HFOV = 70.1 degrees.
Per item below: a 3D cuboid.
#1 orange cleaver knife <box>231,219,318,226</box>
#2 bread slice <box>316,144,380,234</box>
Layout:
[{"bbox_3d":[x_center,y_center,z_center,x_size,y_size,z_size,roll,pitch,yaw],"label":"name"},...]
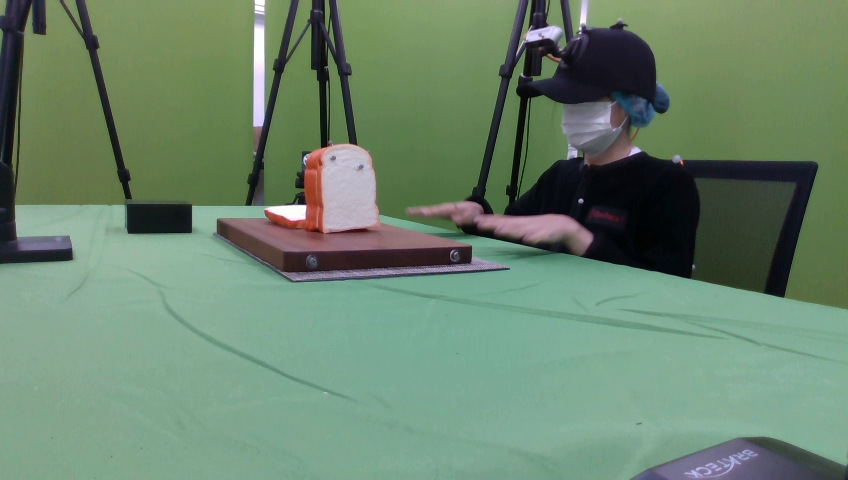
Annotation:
[{"bbox_3d":[-0.276,-0.034,1.200,0.212,0.012,0.077,2,4,-26],"label":"orange cleaver knife"},{"bbox_3d":[-0.121,-0.078,0.924,0.107,0.134,0.018,-12,9,-42],"label":"bread slice"}]
